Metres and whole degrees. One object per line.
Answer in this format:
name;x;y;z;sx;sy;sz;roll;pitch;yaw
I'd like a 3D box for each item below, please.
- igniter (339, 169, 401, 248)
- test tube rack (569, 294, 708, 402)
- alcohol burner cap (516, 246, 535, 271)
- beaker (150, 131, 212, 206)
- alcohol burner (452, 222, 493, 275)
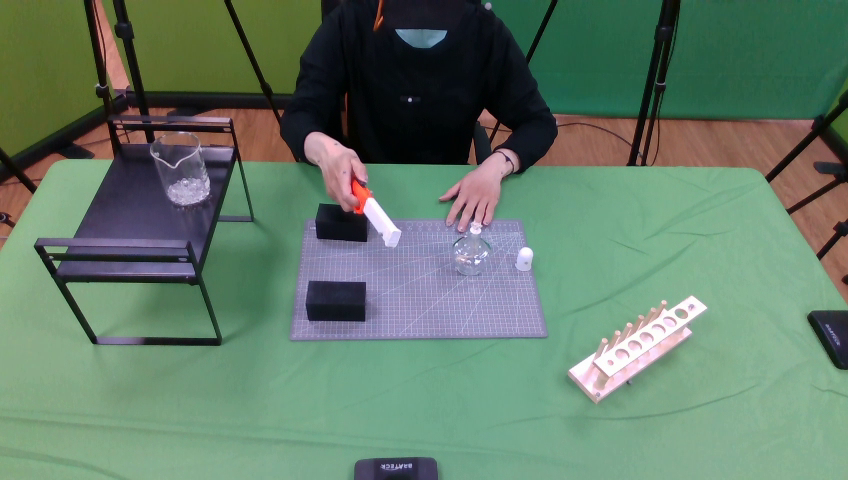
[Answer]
igniter;-0.101;-0.064;1.061;0.025;0.057;0.274;11;22;-30
test tube rack;0.360;0.167;1.015;0.242;0.085;0.066;-25;52;-25
alcohol burner cap;0.195;0.032;1.158;0.034;0.048;0.033;2;45;-2
beaker;-0.385;-0.110;0.969;0.074;0.101;0.083;-6;48;-9
alcohol burner;0.091;0.009;1.124;0.078;0.119;0.077;2;48;-2
